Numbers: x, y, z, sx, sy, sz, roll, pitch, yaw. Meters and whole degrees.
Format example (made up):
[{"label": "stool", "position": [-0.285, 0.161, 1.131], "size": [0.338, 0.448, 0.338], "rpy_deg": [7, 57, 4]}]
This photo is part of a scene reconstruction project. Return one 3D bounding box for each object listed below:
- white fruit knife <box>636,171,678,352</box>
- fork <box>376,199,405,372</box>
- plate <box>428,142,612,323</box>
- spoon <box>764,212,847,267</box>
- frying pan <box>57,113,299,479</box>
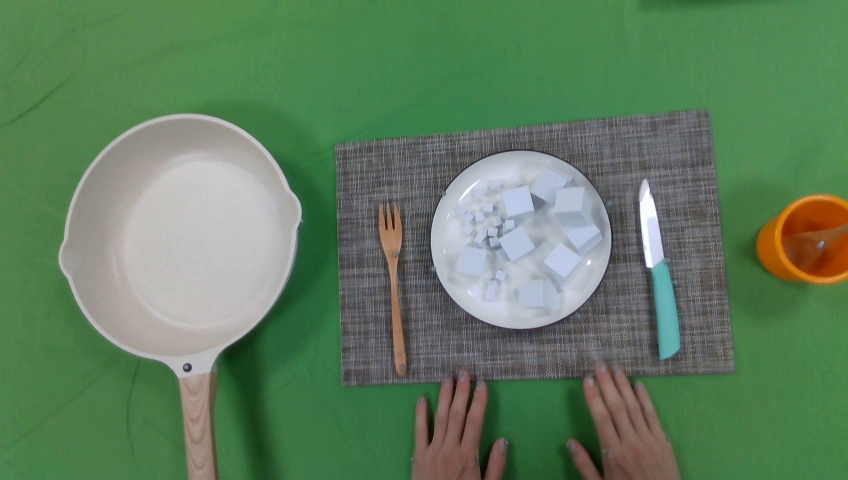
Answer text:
[{"label": "white fruit knife", "position": [0.263, 0.022, 0.690], "size": [0.027, 0.016, 0.206], "rpy_deg": [-7, 83, 4]}, {"label": "fork", "position": [-0.037, 0.053, 0.725], "size": [0.028, 0.018, 0.206], "rpy_deg": [-5, 82, -5]}, {"label": "plate", "position": [0.108, -0.008, 0.702], "size": [0.207, 0.039, 0.207], "rpy_deg": [-1, 84, 8]}, {"label": "spoon", "position": [0.432, -0.027, 0.607], "size": [0.021, 0.194, 0.041], "rpy_deg": [-30, 80, -41]}, {"label": "frying pan", "position": [-0.273, 0.093, 0.714], "size": [0.306, 0.103, 0.485], "rpy_deg": [-11, 74, 7]}]
